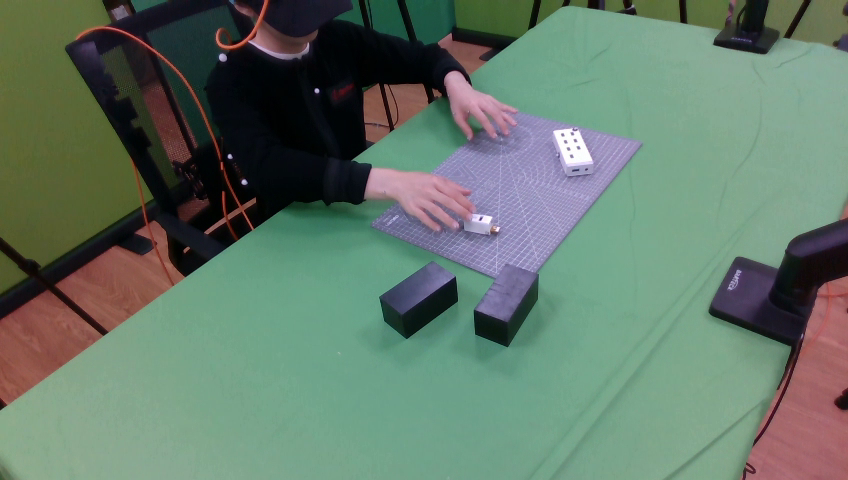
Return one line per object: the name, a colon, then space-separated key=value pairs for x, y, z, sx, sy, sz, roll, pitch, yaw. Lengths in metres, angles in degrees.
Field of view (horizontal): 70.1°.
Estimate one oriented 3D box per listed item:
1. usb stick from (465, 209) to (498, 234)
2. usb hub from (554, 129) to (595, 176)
usb stick: x=0.097 y=-0.027 z=0.975 sx=0.059 sy=0.027 sz=0.021 roll=21 pitch=48 yaw=-20
usb hub: x=0.278 y=-0.163 z=1.119 sx=0.049 sy=0.025 sz=0.124 roll=-6 pitch=41 yaw=2
